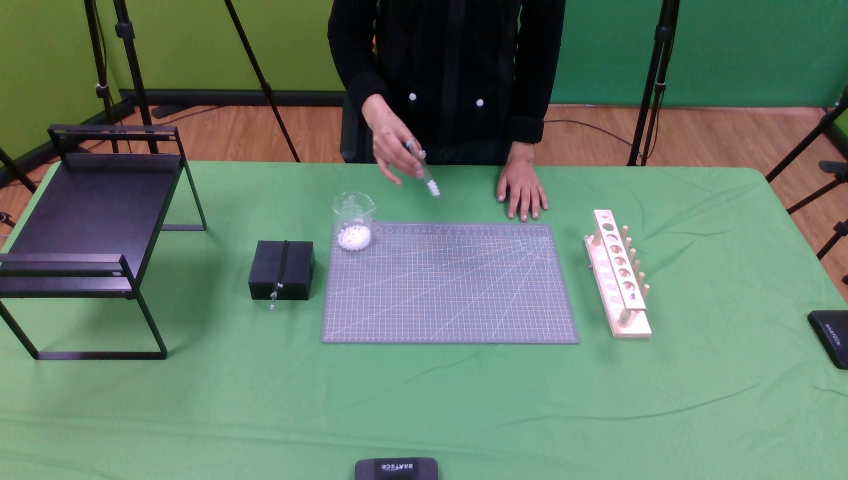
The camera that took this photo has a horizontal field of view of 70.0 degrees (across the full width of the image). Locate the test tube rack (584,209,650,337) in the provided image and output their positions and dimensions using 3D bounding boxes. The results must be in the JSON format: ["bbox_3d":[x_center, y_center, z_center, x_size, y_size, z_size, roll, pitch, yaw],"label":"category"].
[{"bbox_3d":[0.365,0.056,1.129,0.067,0.085,0.240,1,46,-4],"label":"test tube rack"}]

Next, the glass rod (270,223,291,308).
[{"bbox_3d":[-0.255,0.041,1.082,0.008,0.008,0.198,2,46,-2],"label":"glass rod"}]

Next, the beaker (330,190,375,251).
[{"bbox_3d":[-0.136,-0.034,1.163,0.084,0.101,0.073,3,46,-3],"label":"beaker"}]

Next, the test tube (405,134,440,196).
[{"bbox_3d":[-0.001,-0.132,1.095,0.017,0.151,0.017,-13,48,15],"label":"test tube"}]
